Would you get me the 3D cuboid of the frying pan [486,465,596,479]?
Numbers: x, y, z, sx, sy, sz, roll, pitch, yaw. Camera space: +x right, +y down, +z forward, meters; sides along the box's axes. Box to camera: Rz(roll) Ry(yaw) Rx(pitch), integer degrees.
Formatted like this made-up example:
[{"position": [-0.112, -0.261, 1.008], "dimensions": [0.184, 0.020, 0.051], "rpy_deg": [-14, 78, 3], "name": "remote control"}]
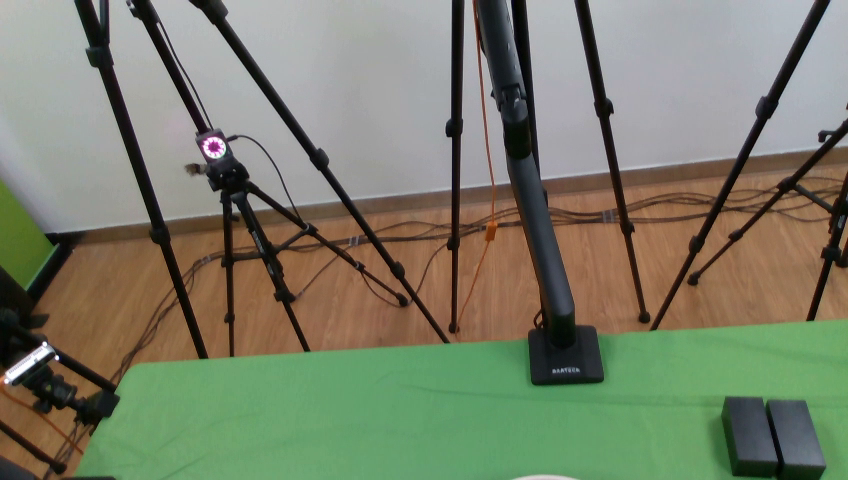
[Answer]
[{"position": [0.136, 0.495, 0.679], "dimensions": [0.306, 0.104, 0.484], "rpy_deg": [-3, 35, 14], "name": "frying pan"}]
